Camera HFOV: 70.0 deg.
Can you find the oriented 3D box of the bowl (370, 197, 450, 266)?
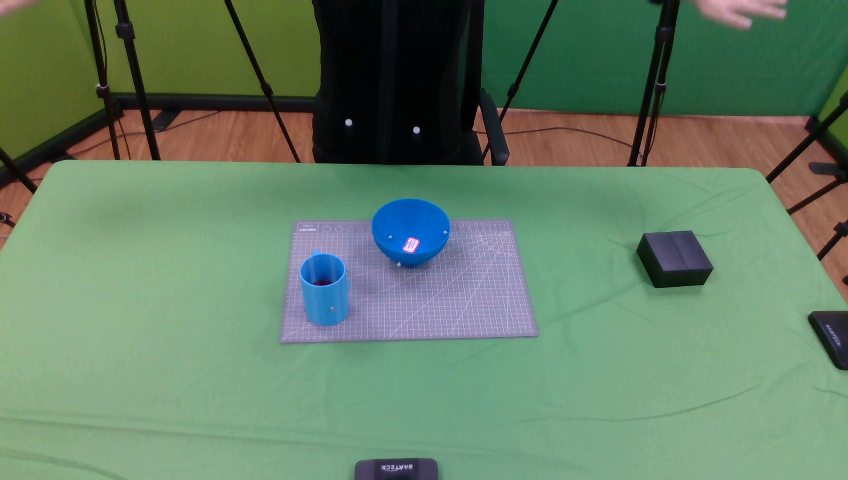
[{"bbox_3d":[-0.028,-0.003,1.156,0.151,0.077,0.150,2,46,-2],"label":"bowl"}]

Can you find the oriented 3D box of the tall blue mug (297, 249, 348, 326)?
[{"bbox_3d":[-0.183,0.077,1.045,0.106,0.108,0.078,35,55,26],"label":"tall blue mug"}]
